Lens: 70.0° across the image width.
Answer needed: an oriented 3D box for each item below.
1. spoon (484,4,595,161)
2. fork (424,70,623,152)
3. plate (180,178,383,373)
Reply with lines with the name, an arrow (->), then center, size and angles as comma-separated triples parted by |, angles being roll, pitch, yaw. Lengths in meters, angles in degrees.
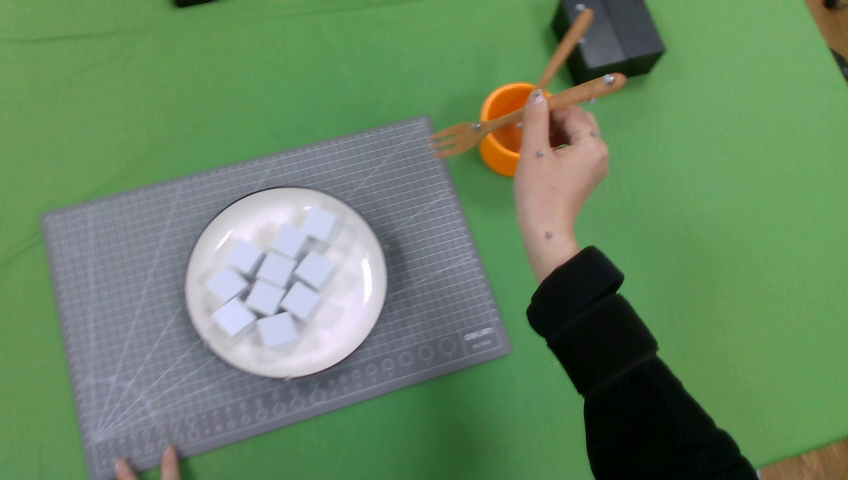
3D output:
spoon -> 0.126, -0.168, 0.665 | 0.041, 0.194, 0.021 | 41, 33, 12
fork -> 0.074, -0.109, 0.519 | 0.019, 0.206, 0.028 | -5, 87, -42
plate -> -0.148, 0.038, 0.647 | 0.208, 0.039, 0.206 | 1, 76, -4
